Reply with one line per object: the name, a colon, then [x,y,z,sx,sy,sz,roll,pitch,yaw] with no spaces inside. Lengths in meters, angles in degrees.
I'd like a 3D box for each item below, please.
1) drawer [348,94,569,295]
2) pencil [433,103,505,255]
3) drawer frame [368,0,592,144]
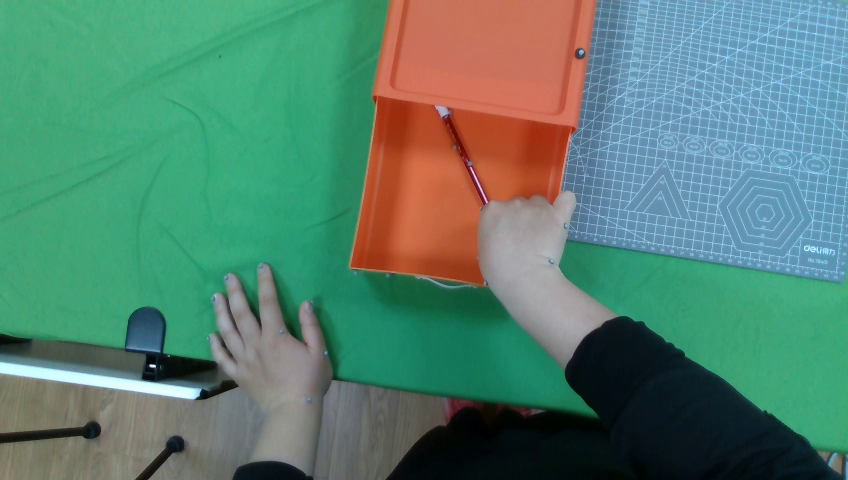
drawer: [0.037,-0.059,0.610,0.194,0.073,0.211,8,88,3]
pencil: [0.046,-0.073,0.636,0.012,0.012,0.194,-24,91,0]
drawer frame: [0.061,-0.222,0.614,0.201,0.083,0.213,8,86,3]
